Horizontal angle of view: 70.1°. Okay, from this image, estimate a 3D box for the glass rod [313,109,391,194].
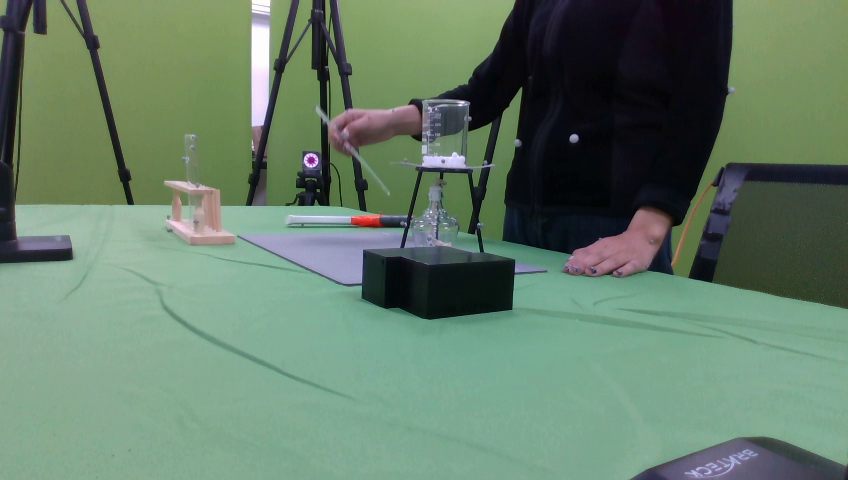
[{"bbox_3d":[-0.127,-0.157,1.075,0.008,0.200,0.008,-41,6,5],"label":"glass rod"}]

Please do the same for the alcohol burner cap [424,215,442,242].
[{"bbox_3d":[0.017,-0.022,1.099,0.034,0.048,0.034,2,8,0],"label":"alcohol burner cap"}]

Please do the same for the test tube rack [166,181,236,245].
[{"bbox_3d":[-0.383,-0.051,1.024,0.067,0.085,0.241,-2,9,-31],"label":"test tube rack"}]

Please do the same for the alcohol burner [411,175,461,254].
[{"bbox_3d":[0.018,-0.040,0.931,0.078,0.119,0.078,0,7,0],"label":"alcohol burner"}]

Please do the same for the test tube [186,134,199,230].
[{"bbox_3d":[-0.360,-0.089,0.946,0.017,0.150,0.017,0,10,0],"label":"test tube"}]

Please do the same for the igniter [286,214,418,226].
[{"bbox_3d":[-0.145,-0.043,1.263,0.278,0.025,0.057,-1,-2,-25],"label":"igniter"}]

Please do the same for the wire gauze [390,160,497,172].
[{"bbox_3d":[0.027,-0.114,0.920,0.122,0.011,0.124,-5,13,-34],"label":"wire gauze"}]

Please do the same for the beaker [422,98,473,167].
[{"bbox_3d":[0.031,-0.162,0.919,0.074,0.100,0.083,-4,9,-36],"label":"beaker"}]

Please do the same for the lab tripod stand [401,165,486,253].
[{"bbox_3d":[0.028,-0.049,0.930,0.148,0.131,0.148,2,9,0],"label":"lab tripod stand"}]
